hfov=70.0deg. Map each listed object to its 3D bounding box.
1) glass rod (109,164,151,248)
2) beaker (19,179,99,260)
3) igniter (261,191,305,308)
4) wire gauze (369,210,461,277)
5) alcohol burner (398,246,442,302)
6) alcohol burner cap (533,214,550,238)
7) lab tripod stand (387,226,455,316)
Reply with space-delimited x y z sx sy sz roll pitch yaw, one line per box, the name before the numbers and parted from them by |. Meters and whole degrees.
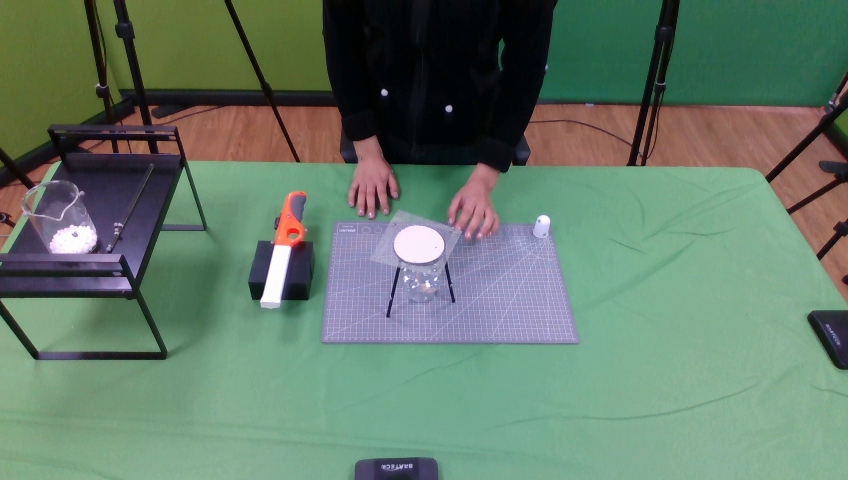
glass rod | -0.473 -0.060 0.979 0.008 0.008 0.198 1 45 -3
beaker | -0.522 -0.024 0.877 0.074 0.101 0.083 -26 54 -25
igniter | -0.255 0.007 1.104 0.057 0.025 0.275 5 47 -4
wire gauze | -0.013 0.005 1.017 0.121 0.011 0.124 17 49 12
alcohol burner | -0.006 0.055 1.078 0.078 0.119 0.077 3 44 -3
alcohol burner cap | 0.240 -0.030 1.228 0.034 0.048 0.033 1 46 -1
lab tripod stand | -0.013 0.055 1.064 0.148 0.132 0.147 2 48 -2
